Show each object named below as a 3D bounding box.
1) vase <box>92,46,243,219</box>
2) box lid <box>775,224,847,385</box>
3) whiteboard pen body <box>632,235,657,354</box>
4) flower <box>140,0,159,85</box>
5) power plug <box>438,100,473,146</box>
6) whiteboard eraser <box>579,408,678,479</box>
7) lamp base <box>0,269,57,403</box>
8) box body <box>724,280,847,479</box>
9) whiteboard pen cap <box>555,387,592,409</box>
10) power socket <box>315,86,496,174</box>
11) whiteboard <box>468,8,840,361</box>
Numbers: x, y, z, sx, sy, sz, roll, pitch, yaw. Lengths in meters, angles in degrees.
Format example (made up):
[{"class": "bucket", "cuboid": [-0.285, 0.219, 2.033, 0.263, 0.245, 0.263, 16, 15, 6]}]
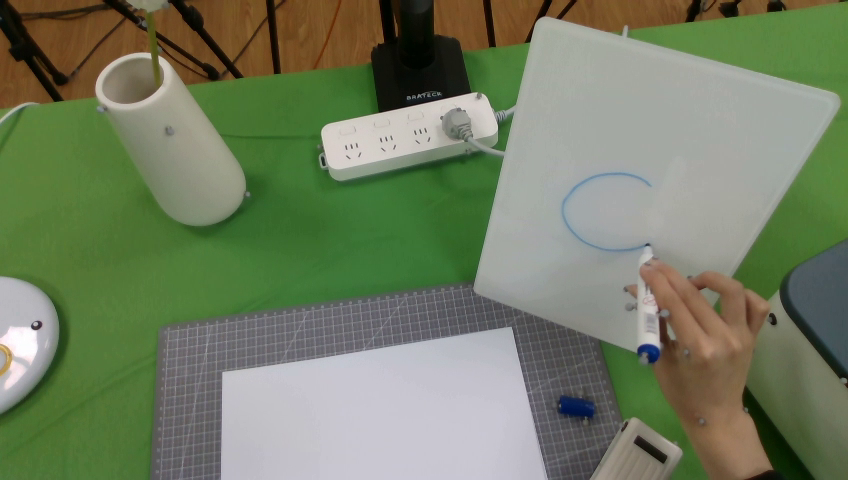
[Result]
[{"class": "vase", "cuboid": [-0.260, -0.104, 0.628, 0.098, 0.201, 0.097, -1, 62, 2]}, {"class": "box lid", "cuboid": [0.468, 0.115, 0.435, 0.263, 0.015, 0.368, -25, 65, -10]}, {"class": "whiteboard pen body", "cuboid": [0.173, 0.036, 0.476, 0.017, 0.017, 0.140, 14, 39, 9]}, {"class": "flower", "cuboid": [-0.242, -0.137, 0.553, 0.038, 0.362, 0.044, 40, 60, 1]}, {"class": "power plug", "cuboid": [0.036, -0.130, 0.703, 0.035, 0.053, 0.072, -3, 69, 0]}, {"class": "whiteboard eraser", "cuboid": [0.175, 0.211, 0.542, 0.055, 0.042, 0.112, 34, 69, 18]}, {"class": "lamp base", "cuboid": [-0.475, 0.062, 0.558, 0.178, 0.182, 0.160, 21, 65, 15]}, {"class": "box body", "cuboid": [0.471, 0.152, 0.500, 0.254, 0.161, 0.360, -25, 65, -11]}, {"class": "whiteboard pen cap", "cuboid": [0.145, 0.153, 0.586, 0.033, 0.018, 0.018, 9, 63, 3]}, {"class": "power socket", "cuboid": [-0.020, -0.133, 0.732, 0.227, 0.033, 0.071, -13, 64, -6]}, {"class": "whiteboard", "cuboid": [0.190, -0.064, 0.572, 0.216, 0.308, 0.143, 20, 44, 12]}]
